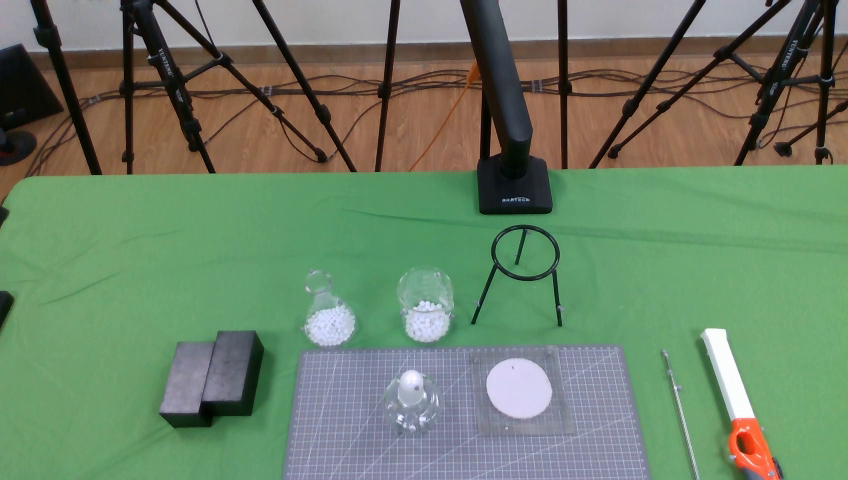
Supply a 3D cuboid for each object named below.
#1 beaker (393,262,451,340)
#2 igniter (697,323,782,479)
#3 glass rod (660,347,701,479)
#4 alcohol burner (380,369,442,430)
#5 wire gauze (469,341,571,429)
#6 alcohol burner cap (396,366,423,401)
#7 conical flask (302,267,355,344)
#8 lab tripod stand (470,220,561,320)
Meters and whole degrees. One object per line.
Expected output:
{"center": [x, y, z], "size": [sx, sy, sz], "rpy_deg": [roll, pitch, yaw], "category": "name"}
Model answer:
{"center": [0.002, 0.089, 0.835], "size": [0.083, 0.101, 0.074], "rpy_deg": [30, 60, 21], "category": "beaker"}
{"center": [0.401, 0.229, 0.763], "size": [0.057, 0.025, 0.273], "rpy_deg": [4, 54, -8], "category": "igniter"}
{"center": [0.331, 0.227, 0.778], "size": [0.008, 0.008, 0.197], "rpy_deg": [-1, 53, 0], "category": "glass rod"}
{"center": [-0.017, 0.190, 0.749], "size": [0.078, 0.120, 0.077], "rpy_deg": [0, 55, 1], "category": "alcohol burner"}
{"center": [0.126, 0.193, 0.808], "size": [0.125, 0.011, 0.120], "rpy_deg": [-2, 54, -2], "category": "wire gauze"}
{"center": [-0.016, 0.168, 0.720], "size": [0.034, 0.048, 0.033], "rpy_deg": [3, 54, -3], "category": "alcohol burner cap"}
{"center": [-0.137, 0.085, 0.827], "size": [0.075, 0.123, 0.074], "rpy_deg": [-1, 54, 1], "category": "conical flask"}
{"center": [0.130, 0.049, 0.839], "size": [0.148, 0.132, 0.147], "rpy_deg": [-1, 56, 2], "category": "lab tripod stand"}
